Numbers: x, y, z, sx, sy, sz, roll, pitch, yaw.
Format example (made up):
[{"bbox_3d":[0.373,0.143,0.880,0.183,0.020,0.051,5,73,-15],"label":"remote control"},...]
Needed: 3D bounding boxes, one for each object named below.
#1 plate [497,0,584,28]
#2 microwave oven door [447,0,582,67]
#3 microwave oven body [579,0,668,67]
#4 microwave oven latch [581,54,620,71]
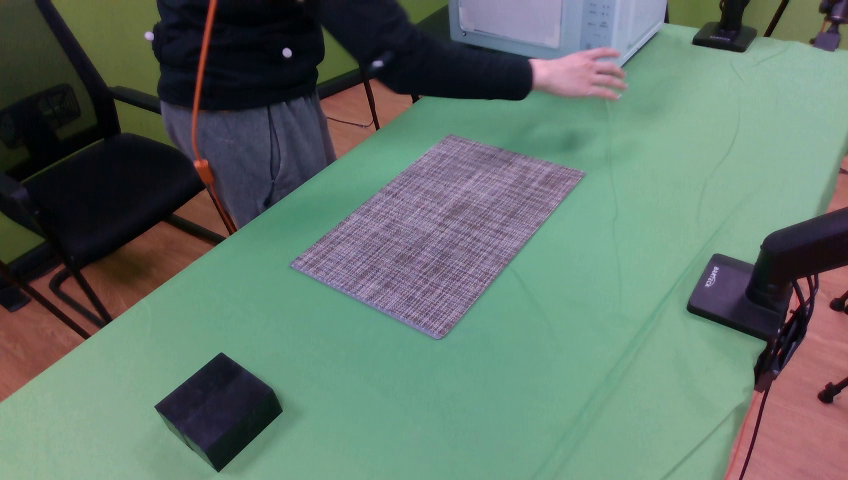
[{"bbox_3d":[0.286,-0.572,1.488,0.209,0.038,0.208,-5,43,5],"label":"plate"},{"bbox_3d":[0.203,-0.544,1.372,0.353,0.245,0.039,23,49,29],"label":"microwave oven door"},{"bbox_3d":[0.325,-0.609,1.437,0.438,0.261,0.327,23,49,30],"label":"microwave oven body"},{"bbox_3d":[0.386,-0.394,1.329,0.078,0.029,0.030,25,51,32],"label":"microwave oven latch"}]
